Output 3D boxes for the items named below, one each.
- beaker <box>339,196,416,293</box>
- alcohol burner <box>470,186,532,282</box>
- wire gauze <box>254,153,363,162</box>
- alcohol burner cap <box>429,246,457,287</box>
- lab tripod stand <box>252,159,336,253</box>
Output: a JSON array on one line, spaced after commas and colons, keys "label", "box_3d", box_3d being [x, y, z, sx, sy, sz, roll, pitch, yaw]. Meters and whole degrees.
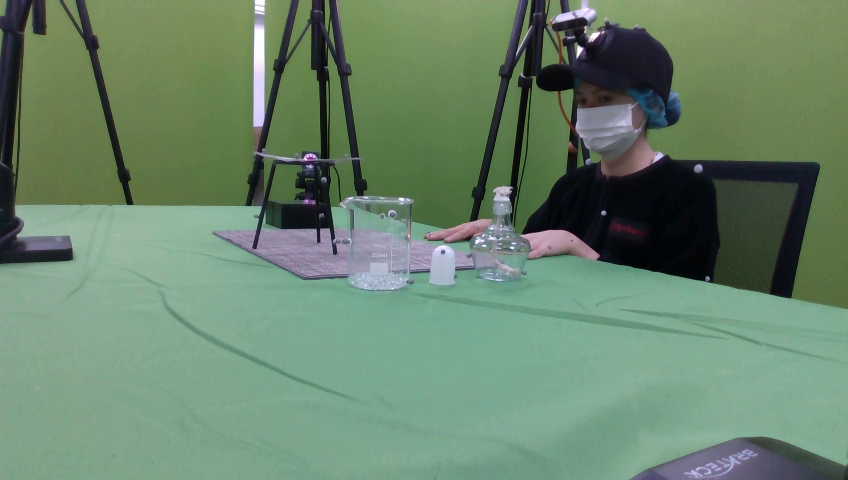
[{"label": "beaker", "box_3d": [-0.052, 0.004, 0.661, 0.084, 0.100, 0.073, 0, 7, -18]}, {"label": "alcohol burner", "box_3d": [0.096, -0.008, 0.752, 0.078, 0.119, 0.078, 3, 5, 0]}, {"label": "wire gauze", "box_3d": [-0.172, -0.119, 0.891, 0.122, 0.011, 0.124, -2, 7, -38]}, {"label": "alcohol burner cap", "box_3d": [0.024, 0.030, 0.705, 0.034, 0.048, 0.034, 2, 6, 0]}, {"label": "lab tripod stand", "box_3d": [-0.180, -0.053, 0.900, 0.148, 0.131, 0.148, 1, 6, 0]}]
